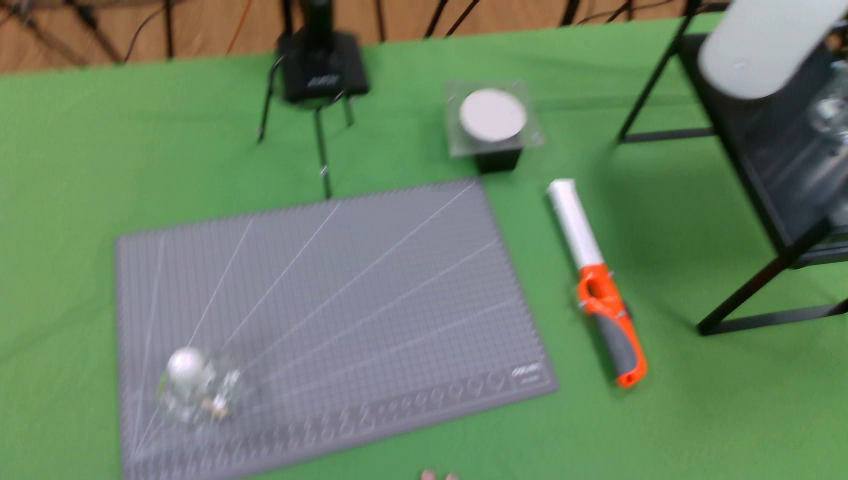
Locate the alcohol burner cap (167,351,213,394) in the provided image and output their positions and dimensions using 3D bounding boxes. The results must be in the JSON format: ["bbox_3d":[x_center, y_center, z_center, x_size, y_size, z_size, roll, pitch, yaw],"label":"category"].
[{"bbox_3d":[-0.212,0.117,0.543,0.034,0.048,0.033,2,64,-4],"label":"alcohol burner cap"}]

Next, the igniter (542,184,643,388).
[{"bbox_3d":[0.202,0.046,0.738,0.057,0.025,0.274,-3,59,-21],"label":"igniter"}]

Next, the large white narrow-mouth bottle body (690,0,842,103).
[{"bbox_3d":[0.363,-0.241,0.623,0.102,0.196,0.101,3,58,-5],"label":"large white narrow-mouth bottle body"}]

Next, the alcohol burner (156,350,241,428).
[{"bbox_3d":[-0.216,0.135,0.574,0.078,0.120,0.077,4,56,-6],"label":"alcohol burner"}]

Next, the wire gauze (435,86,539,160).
[{"bbox_3d":[0.080,-0.159,0.801,0.122,0.011,0.124,-4,59,-10],"label":"wire gauze"}]

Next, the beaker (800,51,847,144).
[{"bbox_3d":[0.458,-0.159,0.642,0.074,0.101,0.083,-24,64,-20],"label":"beaker"}]

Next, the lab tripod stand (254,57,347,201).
[{"bbox_3d":[-0.143,-0.141,0.745,0.149,0.132,0.147,4,59,-7],"label":"lab tripod stand"}]
